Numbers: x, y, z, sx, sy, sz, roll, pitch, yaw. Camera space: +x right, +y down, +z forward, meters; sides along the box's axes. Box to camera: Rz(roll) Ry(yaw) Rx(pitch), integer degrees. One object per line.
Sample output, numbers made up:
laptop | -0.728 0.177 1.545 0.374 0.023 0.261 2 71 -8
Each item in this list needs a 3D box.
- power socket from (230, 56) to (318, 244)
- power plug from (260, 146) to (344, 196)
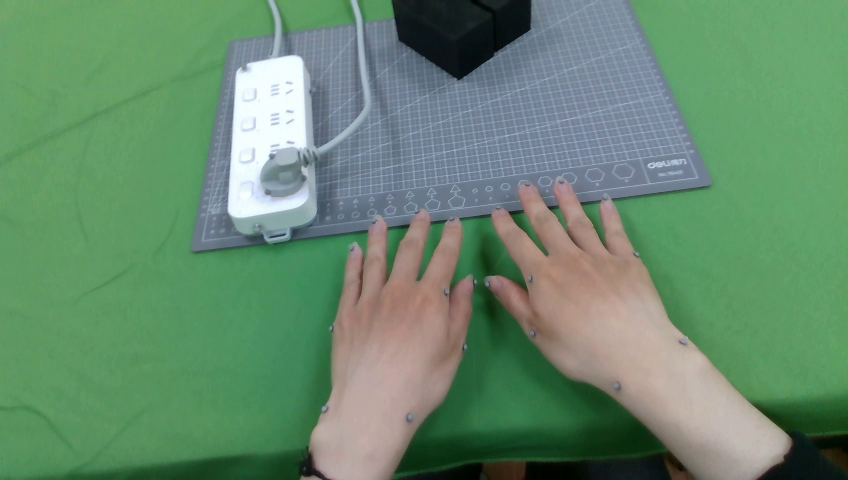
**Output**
power socket | -0.141 -0.096 0.576 0.072 0.033 0.224 -9 54 1
power plug | -0.104 -0.052 0.518 0.072 0.053 0.035 3 54 4
